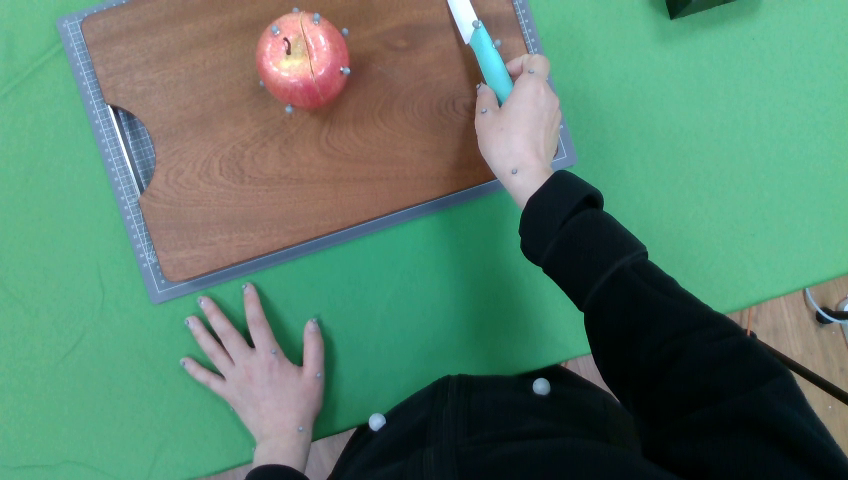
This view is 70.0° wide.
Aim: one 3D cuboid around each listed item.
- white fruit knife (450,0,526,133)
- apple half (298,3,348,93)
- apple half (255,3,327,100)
[{"bbox_3d":[0.047,-0.197,0.559,0.027,0.016,0.206,-30,80,42],"label":"white fruit knife"},{"bbox_3d":[-0.084,-0.172,0.541,0.033,0.081,0.081,-13,91,3],"label":"apple half"},{"bbox_3d":[-0.121,-0.163,0.542,0.053,0.074,0.081,-13,95,4],"label":"apple half"}]
